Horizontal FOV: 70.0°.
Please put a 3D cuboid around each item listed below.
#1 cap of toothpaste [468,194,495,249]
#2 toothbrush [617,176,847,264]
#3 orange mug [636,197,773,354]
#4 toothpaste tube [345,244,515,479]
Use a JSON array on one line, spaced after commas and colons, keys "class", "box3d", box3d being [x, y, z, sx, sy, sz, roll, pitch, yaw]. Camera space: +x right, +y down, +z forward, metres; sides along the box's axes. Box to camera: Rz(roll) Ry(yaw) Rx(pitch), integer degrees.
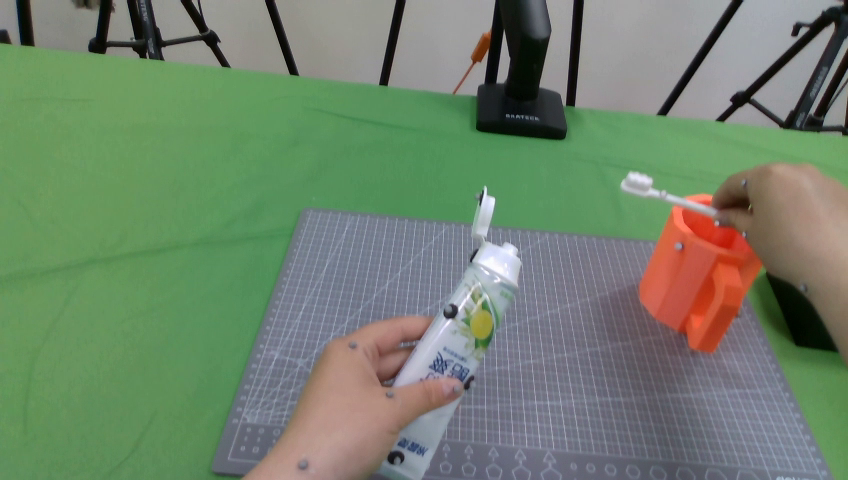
[{"class": "cap of toothpaste", "box3d": [0.038, -0.012, 0.397, 0.011, 0.037, 0.037, 16, 41, 8]}, {"class": "toothbrush", "box3d": [0.246, -0.016, 0.486, 0.181, 0.017, 0.014, 20, 45, 9]}, {"class": "orange mug", "box3d": [0.246, 0.035, 0.535, 0.083, 0.101, 0.125, 11, 36, 6]}, {"class": "toothpaste tube", "box3d": [0.012, 0.074, 0.387, 0.055, 0.165, 0.034, 30, -5, -14]}]
